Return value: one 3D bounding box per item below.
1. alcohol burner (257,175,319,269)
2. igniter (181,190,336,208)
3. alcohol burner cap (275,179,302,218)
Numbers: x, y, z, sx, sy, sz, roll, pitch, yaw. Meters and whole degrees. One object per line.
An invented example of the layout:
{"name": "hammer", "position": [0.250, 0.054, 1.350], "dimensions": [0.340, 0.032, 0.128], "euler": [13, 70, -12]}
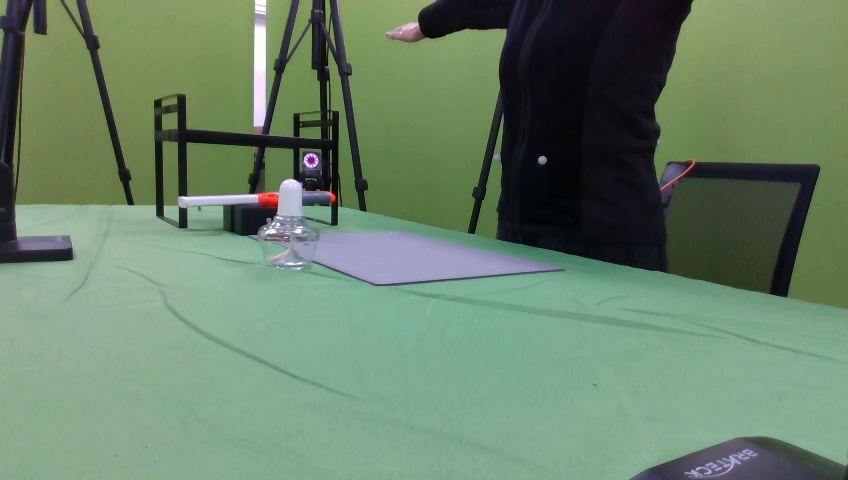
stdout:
{"name": "alcohol burner", "position": [-0.170, -0.023, 0.762], "dimensions": [0.078, 0.119, 0.078], "euler": [4, 8, 0]}
{"name": "igniter", "position": [-0.294, -0.076, 1.103], "dimensions": [0.278, 0.025, 0.057], "euler": [-5, 12, -33]}
{"name": "alcohol burner cap", "position": [-0.169, -0.053, 0.759], "dimensions": [0.034, 0.048, 0.034], "euler": [4, 8, 0]}
